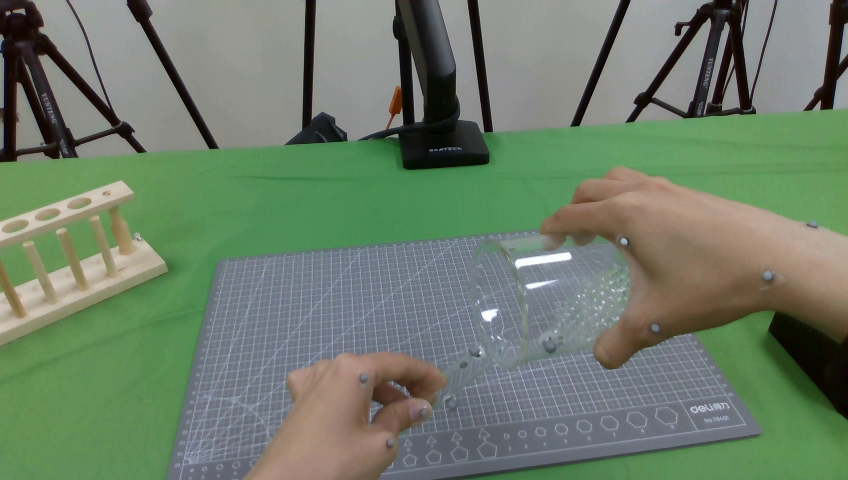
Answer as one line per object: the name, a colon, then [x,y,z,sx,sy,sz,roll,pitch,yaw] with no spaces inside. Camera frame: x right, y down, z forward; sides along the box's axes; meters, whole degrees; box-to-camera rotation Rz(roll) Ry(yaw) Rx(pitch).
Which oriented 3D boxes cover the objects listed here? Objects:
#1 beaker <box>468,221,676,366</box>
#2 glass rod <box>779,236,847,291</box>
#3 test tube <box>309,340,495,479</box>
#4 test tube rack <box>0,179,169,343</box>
beaker: [0.085,0.030,0.354,0.100,0.084,0.073,-8,41,-17]
glass rod: [0.373,0.052,0.507,0.008,0.008,0.197,-11,37,-13]
test tube: [-0.017,0.112,0.380,0.150,0.017,0.017,-40,36,13]
test tube rack: [-0.383,0.032,0.574,0.242,0.086,0.066,-28,44,-33]
